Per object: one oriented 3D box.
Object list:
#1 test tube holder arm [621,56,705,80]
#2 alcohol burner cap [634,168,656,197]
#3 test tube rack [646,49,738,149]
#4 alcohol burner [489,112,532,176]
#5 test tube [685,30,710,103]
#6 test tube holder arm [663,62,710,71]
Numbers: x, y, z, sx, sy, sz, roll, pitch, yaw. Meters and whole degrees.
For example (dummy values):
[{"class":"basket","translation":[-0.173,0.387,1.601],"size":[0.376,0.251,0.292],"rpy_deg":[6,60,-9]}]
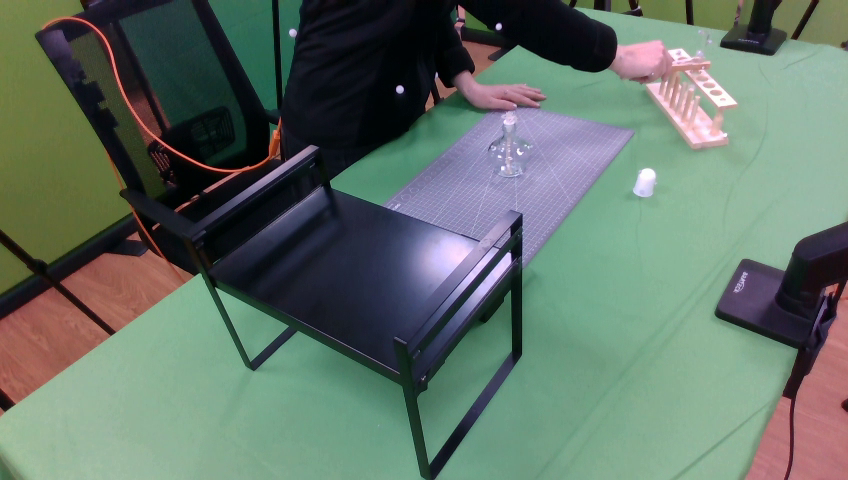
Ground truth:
[{"class":"test tube holder arm","translation":[0.448,-0.322,1.131],"size":[0.179,0.015,0.013],"rpy_deg":[-13,49,-13]},{"class":"alcohol burner cap","translation":[0.374,-0.099,1.018],"size":[0.034,0.048,0.033],"rpy_deg":[-1,41,1]},{"class":"test tube rack","translation":[0.512,-0.280,1.175],"size":[0.067,0.085,0.241],"rpy_deg":[-7,41,0]},{"class":"alcohol burner","translation":[0.155,-0.176,1.084],"size":[0.078,0.119,0.077],"rpy_deg":[-3,41,3]},{"class":"test tube","translation":[0.520,-0.326,1.150],"size":[0.017,0.151,0.017],"rpy_deg":[-4,44,4]},{"class":"test tube holder arm","translation":[0.493,-0.325,1.135],"size":[0.088,0.015,0.010],"rpy_deg":[-2,49,-3]}]
